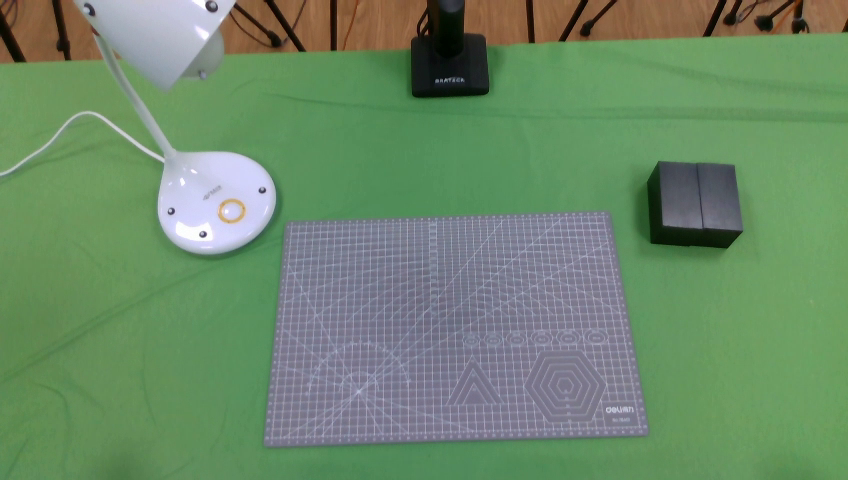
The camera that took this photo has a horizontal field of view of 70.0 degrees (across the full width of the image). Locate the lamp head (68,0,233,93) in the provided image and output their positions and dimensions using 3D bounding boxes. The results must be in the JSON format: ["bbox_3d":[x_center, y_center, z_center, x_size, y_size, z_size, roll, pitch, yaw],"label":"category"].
[{"bbox_3d":[-0.244,-0.205,0.519,0.124,0.112,0.112,35,63,-25],"label":"lamp head"}]

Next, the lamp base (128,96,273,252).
[{"bbox_3d":[-0.305,-0.096,0.780,0.178,0.182,0.160,29,68,18],"label":"lamp base"}]
